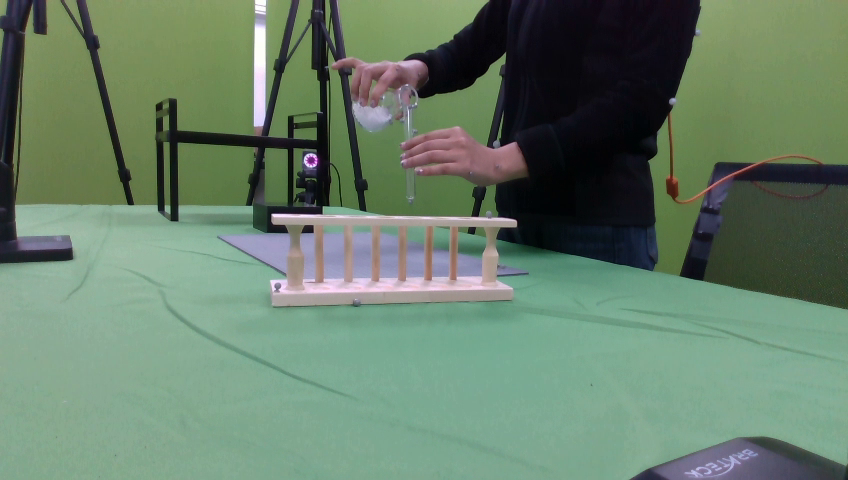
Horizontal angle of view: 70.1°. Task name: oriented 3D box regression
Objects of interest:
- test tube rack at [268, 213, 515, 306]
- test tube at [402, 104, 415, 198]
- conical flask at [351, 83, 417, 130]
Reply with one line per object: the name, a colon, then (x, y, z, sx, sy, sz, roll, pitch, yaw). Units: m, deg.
test tube rack: (-0.033, 0.015, 0.617, 0.243, 0.085, 0.066, 0, 7, -17)
test tube: (-0.023, -0.136, 0.919, 0.017, 0.150, 0.017, -2, -13, 0)
conical flask: (-0.061, -0.224, 0.985, 0.076, 0.075, 0.121, -3, 1, -37)
